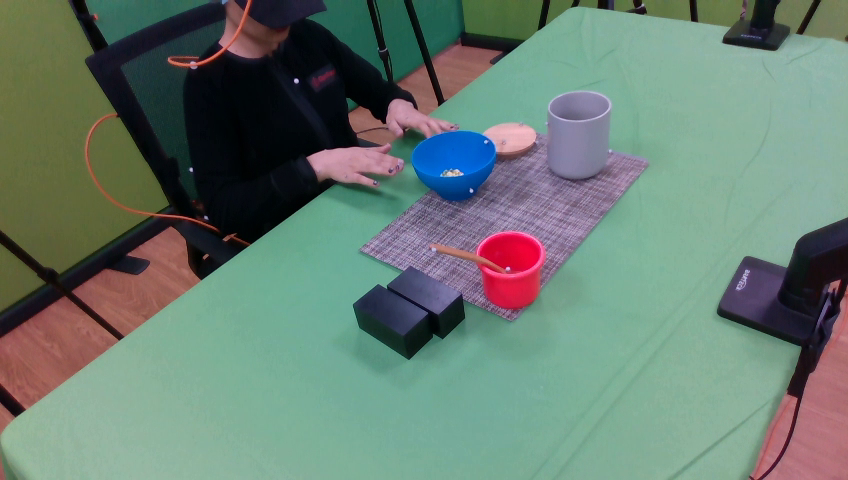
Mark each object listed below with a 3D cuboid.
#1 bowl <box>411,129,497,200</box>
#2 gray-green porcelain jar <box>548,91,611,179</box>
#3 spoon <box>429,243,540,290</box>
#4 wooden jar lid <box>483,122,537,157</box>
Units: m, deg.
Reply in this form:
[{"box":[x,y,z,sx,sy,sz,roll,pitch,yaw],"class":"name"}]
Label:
[{"box":[0.056,-0.124,1.069,0.151,0.077,0.150,-5,40,5],"class":"bowl"},{"box":[0.269,-0.179,1.056,0.106,0.127,0.105,-6,40,5],"class":"gray-green porcelain jar"},{"box":[0.086,0.033,0.826,0.195,0.021,0.041,23,26,-33],"class":"spoon"},{"box":[0.165,-0.195,1.177,0.108,0.021,0.108,-4,40,4],"class":"wooden jar lid"}]
